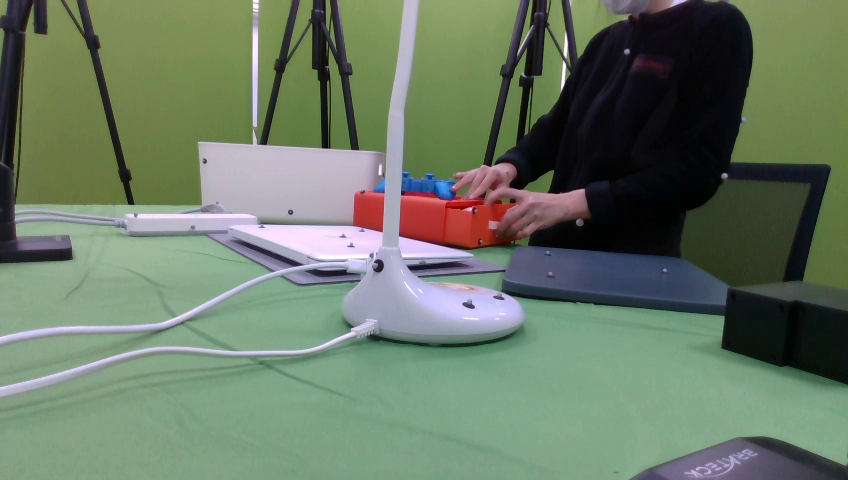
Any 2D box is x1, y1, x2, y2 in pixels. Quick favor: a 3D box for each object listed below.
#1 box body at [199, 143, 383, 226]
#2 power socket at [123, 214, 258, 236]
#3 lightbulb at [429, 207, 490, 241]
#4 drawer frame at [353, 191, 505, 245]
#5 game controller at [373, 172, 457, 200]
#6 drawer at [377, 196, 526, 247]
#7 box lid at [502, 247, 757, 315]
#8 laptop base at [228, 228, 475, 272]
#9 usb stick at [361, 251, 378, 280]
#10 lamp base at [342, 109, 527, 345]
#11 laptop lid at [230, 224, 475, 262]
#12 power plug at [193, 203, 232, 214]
[{"bbox_3d":[-0.276,-0.124,1.334,0.364,0.160,0.254,3,7,1],"label":"box body"},{"bbox_3d":[-0.398,-0.028,1.049,0.228,0.032,0.072,-3,8,-34],"label":"power socket"},{"bbox_3d":[0.062,-0.024,1.055,0.107,0.059,0.059,-12,6,8],"label":"lightbulb"},{"bbox_3d":[0.011,-0.048,1.143,0.212,0.082,0.203,8,9,35],"label":"drawer frame"},{"bbox_3d":[-0.011,-0.101,1.151,0.155,0.051,0.097,6,3,12],"label":"game controller"},{"bbox_3d":[0.051,-0.041,1.114,0.211,0.073,0.195,9,10,34],"label":"drawer"},{"bbox_3d":[0.244,0.044,0.793,0.263,0.015,0.372,4,6,10],"label":"box lid"},{"bbox_3d":[-0.122,0.011,0.889,0.237,0.023,0.352,2,6,-35],"label":"laptop base"},{"bbox_3d":[-0.052,0.033,0.656,0.027,0.021,0.059,4,-27,-20],"label":"usb stick"},{"bbox_3d":[0.006,-0.015,0.505,0.160,0.180,0.180,6,11,29],"label":"lamp base"},{"bbox_3d":[-0.120,0.000,0.889,0.243,0.013,0.355,1,7,-33],"label":"laptop lid"},{"bbox_3d":[-0.393,-0.042,1.139,0.072,0.052,0.035,-14,2,31],"label":"power plug"}]
